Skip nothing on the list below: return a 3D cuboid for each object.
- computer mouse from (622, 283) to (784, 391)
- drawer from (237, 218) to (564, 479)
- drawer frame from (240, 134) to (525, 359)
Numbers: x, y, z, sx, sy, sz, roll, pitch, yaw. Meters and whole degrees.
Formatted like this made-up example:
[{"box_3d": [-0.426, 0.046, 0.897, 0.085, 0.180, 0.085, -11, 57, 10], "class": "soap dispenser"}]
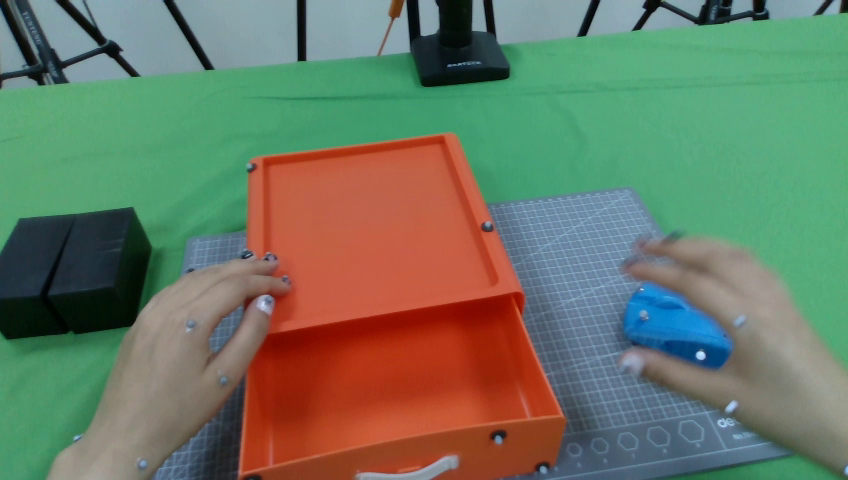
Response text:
[{"box_3d": [0.218, 0.069, 0.475, 0.116, 0.041, 0.062, 19, 49, 26], "class": "computer mouse"}, {"box_3d": [-0.027, 0.076, 0.445, 0.195, 0.074, 0.209, -9, 44, -6], "class": "drawer"}, {"box_3d": [-0.044, 0.011, 0.513, 0.202, 0.083, 0.211, -9, 43, -7], "class": "drawer frame"}]
